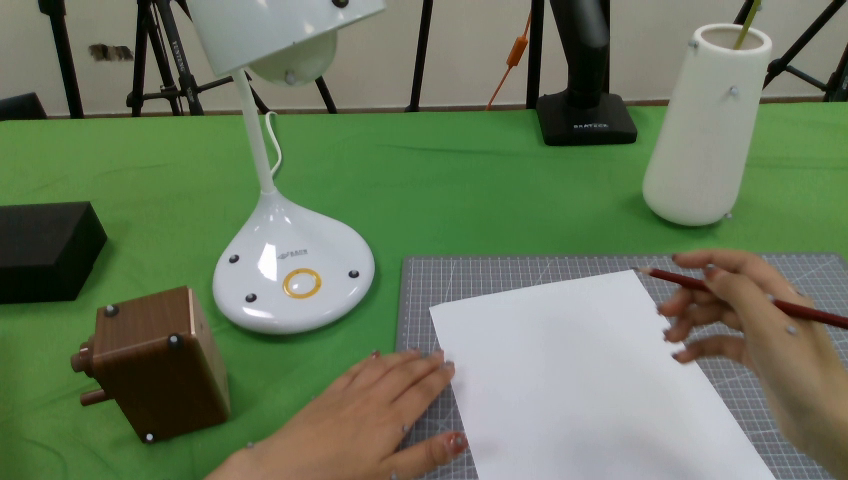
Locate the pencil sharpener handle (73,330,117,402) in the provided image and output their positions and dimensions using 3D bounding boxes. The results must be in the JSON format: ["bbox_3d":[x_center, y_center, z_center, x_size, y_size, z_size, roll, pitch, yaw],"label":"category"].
[{"bbox_3d":[-0.252,0.099,0.457,0.031,0.068,0.035,-15,46,-13],"label":"pencil sharpener handle"}]

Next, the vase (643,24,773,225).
[{"bbox_3d":[0.290,-0.113,0.627,0.098,0.202,0.097,-2,40,2],"label":"vase"}]

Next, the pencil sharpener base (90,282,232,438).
[{"bbox_3d":[-0.203,0.096,0.476,0.077,0.108,0.060,-15,43,-13],"label":"pencil sharpener base"}]

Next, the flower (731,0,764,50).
[{"bbox_3d":[0.281,-0.162,0.557,0.043,0.365,0.038,40,69,22],"label":"flower"}]

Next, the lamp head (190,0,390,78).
[{"bbox_3d":[-0.093,-0.168,0.351,0.112,0.123,0.112,-23,16,7],"label":"lamp head"}]

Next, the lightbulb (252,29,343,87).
[{"bbox_3d":[-0.084,-0.144,0.353,0.059,0.108,0.059,-12,18,4],"label":"lightbulb"}]

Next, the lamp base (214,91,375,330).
[{"bbox_3d":[-0.139,-0.036,0.571,0.161,0.182,0.177,-22,42,-21],"label":"lamp base"}]

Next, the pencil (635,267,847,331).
[{"bbox_3d":[0.211,0.038,0.385,0.012,0.012,0.192,-25,22,-24],"label":"pencil"}]
